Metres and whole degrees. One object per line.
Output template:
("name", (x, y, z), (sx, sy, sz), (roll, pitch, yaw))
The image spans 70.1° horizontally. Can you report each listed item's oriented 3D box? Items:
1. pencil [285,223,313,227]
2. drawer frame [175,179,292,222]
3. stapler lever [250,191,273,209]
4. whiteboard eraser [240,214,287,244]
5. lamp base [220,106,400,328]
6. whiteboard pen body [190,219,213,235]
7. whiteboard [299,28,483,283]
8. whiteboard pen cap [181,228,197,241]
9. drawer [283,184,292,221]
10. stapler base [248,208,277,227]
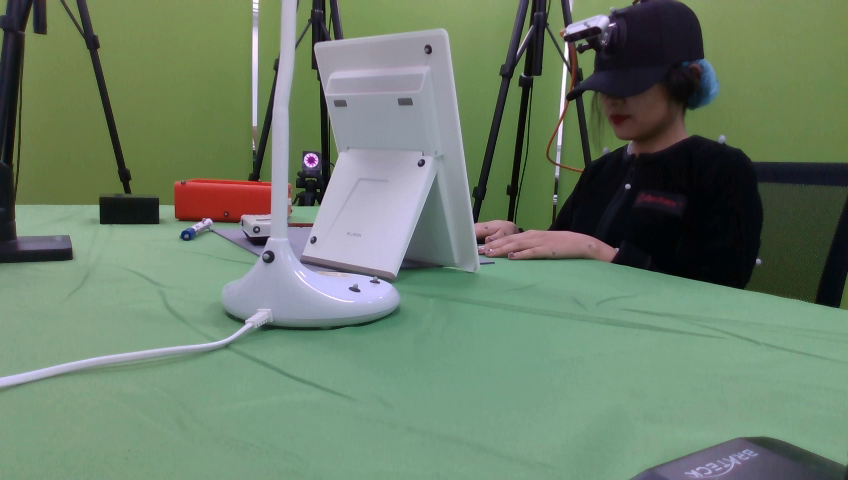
("pencil", (-0.234, -0.030, 1.198), (0.195, 0.012, 0.012), (0, 8, -20))
("drawer frame", (-0.402, -0.087, 1.311), (0.214, 0.082, 0.201), (1, 8, -9))
("stapler lever", (-0.351, -0.086, 1.305), (0.027, 0.040, 0.118), (1, 5, -3))
("whiteboard eraser", (-0.256, -0.018, 0.958), (0.056, 0.042, 0.112), (0, 8, -25))
("lamp base", (-0.101, -0.023, 0.531), (0.160, 0.180, 0.179), (4, 10, 10))
("whiteboard pen body", (-0.382, -0.020, 1.026), (0.017, 0.017, 0.140), (2, 10, -6))
("whiteboard", (-0.075, -0.082, 0.741), (0.216, 0.305, 0.144), (9, 29, 38))
("whiteboard pen cap", (-0.375, -0.010, 0.968), (0.018, 0.018, 0.033), (2, 10, -6))
("drawer", (-0.397, -0.086, 1.314), (0.212, 0.073, 0.194), (1, 8, -9))
("stapler base", (-0.350, -0.053, 1.310), (0.041, 0.024, 0.130), (1, 13, -4))
